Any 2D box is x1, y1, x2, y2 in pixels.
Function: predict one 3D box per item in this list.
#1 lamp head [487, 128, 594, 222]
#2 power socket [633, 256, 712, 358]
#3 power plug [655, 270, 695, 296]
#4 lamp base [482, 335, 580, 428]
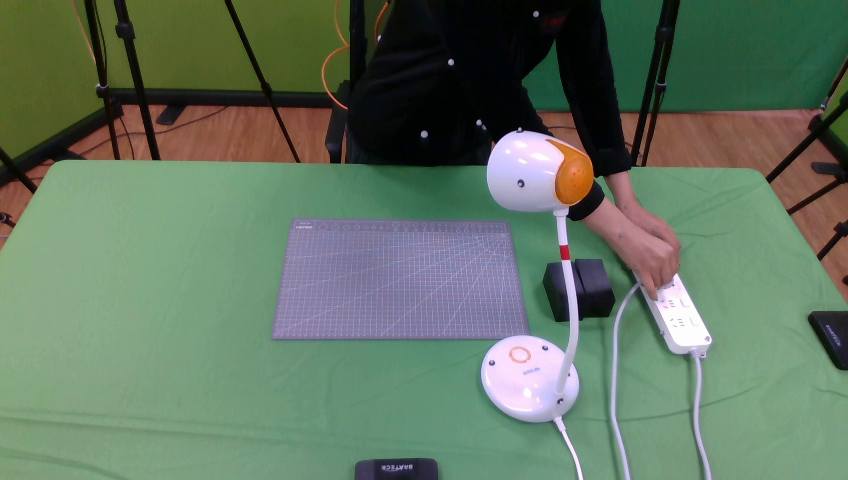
[{"bbox_3d":[0.160,-0.084,0.792,0.112,0.113,0.122,-24,28,-25],"label":"lamp head"},{"bbox_3d":[0.451,0.115,1.112,0.072,0.033,0.225,-3,46,-5],"label":"power socket"},{"bbox_3d":[0.448,0.085,1.089,0.035,0.053,0.072,-35,63,7],"label":"power plug"},{"bbox_3d":[0.185,0.177,0.928,0.161,0.181,0.178,-22,53,-23],"label":"lamp base"}]
